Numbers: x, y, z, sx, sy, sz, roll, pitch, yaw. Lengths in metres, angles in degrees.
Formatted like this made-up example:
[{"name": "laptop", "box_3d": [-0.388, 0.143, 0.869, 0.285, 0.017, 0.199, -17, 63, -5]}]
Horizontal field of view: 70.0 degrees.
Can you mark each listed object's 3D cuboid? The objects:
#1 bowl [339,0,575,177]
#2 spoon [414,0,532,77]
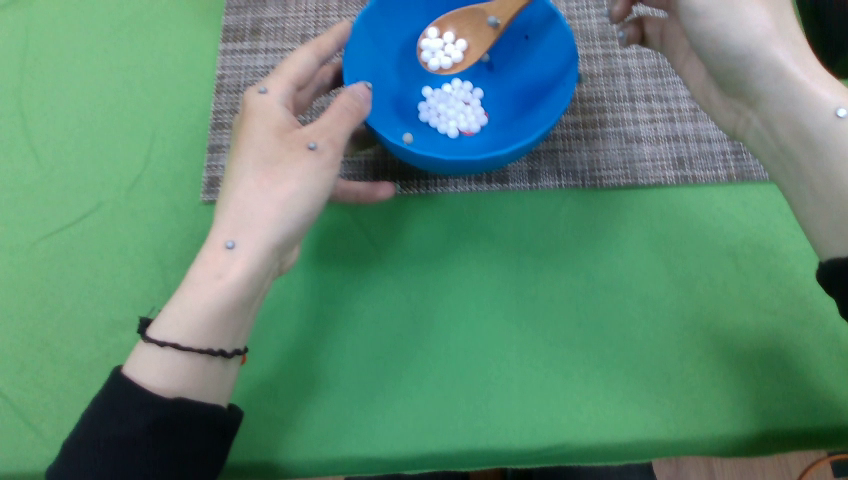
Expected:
[{"name": "bowl", "box_3d": [0.022, -0.100, 0.418, 0.151, 0.077, 0.150, 0, 68, 1]}, {"name": "spoon", "box_3d": [0.071, -0.147, 0.352, 0.193, 0.022, 0.041, -21, 71, 38]}]
